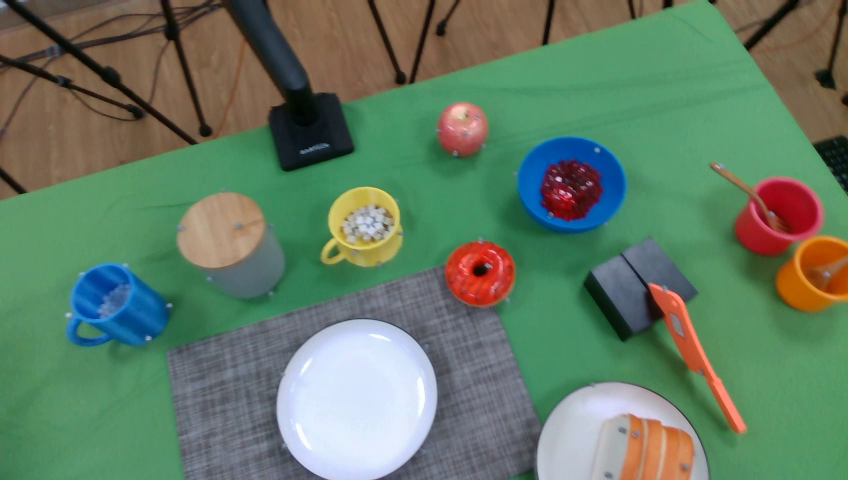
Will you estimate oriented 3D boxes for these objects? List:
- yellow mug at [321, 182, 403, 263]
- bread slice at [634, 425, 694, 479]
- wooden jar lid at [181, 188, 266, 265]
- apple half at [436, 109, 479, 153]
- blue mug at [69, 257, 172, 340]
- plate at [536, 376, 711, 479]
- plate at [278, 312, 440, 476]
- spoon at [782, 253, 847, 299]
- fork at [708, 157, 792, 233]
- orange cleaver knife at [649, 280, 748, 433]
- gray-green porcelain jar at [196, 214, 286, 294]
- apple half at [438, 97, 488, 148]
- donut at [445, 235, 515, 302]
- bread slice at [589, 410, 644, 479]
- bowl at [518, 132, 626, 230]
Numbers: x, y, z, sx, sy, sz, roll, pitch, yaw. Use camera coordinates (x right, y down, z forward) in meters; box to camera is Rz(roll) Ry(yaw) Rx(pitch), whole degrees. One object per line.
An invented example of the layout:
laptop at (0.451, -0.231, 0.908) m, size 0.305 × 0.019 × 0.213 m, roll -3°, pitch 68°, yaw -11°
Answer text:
yellow mug at (-0.094, -0.015, 0.870) m, size 0.131 × 0.064 × 0.099 m, roll -39°, pitch 70°, yaw -13°
bread slice at (0.267, 0.263, 0.688) m, size 0.019 × 0.132 × 0.104 m, roll 19°, pitch 70°, yaw 5°
wooden jar lid at (-0.255, -0.016, 0.775) m, size 0.108 × 0.021 × 0.107 m, roll -1°, pitch 64°, yaw 3°
apple half at (0.044, -0.157, 0.922) m, size 0.081 × 0.082 × 0.032 m, roll 35°, pitch 67°, yaw 17°
blue mug at (-0.415, 0.091, 0.813) m, size 0.116 × 0.106 × 0.082 m, roll -42°, pitch 70°, yaw -15°
plate at (0.239, 0.275, 0.743) m, size 0.209 × 0.038 × 0.207 m, roll -1°, pitch 66°, yaw 2°
plate at (-0.083, 0.197, 0.786) m, size 0.207 × 0.039 × 0.206 m, roll -1°, pitch 66°, yaw 2°
spoon at (0.559, 0.017, 0.785) m, size 0.022 × 0.194 × 0.041 m, roll 3°, pitch 53°, yaw -47°
fork at (0.447, -0.060, 0.824) m, size 0.209 × 0.018 × 0.028 m, roll 30°, pitch 62°, yaw -31°
orange cleaver knife at (0.346, 0.146, 0.772) m, size 0.012 × 0.077 × 0.211 m, roll -28°, pitch 91°, yaw -7°
gray-green porcelain jar at (-0.252, 0.011, 0.832) m, size 0.106 × 0.127 × 0.105 m, roll -1°, pitch 65°, yaw 2°
apple half at (0.067, -0.185, 0.935) m, size 0.080 × 0.075 × 0.053 m, roll 35°, pitch 66°, yaw 20°
donut at (0.078, 0.040, 0.846) m, size 0.099 × 0.048 × 0.098 m, roll -1°, pitch 67°, yaw 2°
bread slice at (0.219, 0.247, 0.697) m, size 0.018 × 0.135 × 0.106 m, roll 17°, pitch 64°, yaw 7°
bowl at (0.207, -0.072, 0.877) m, size 0.151 × 0.077 × 0.150 m, roll -1°, pitch 66°, yaw 2°
